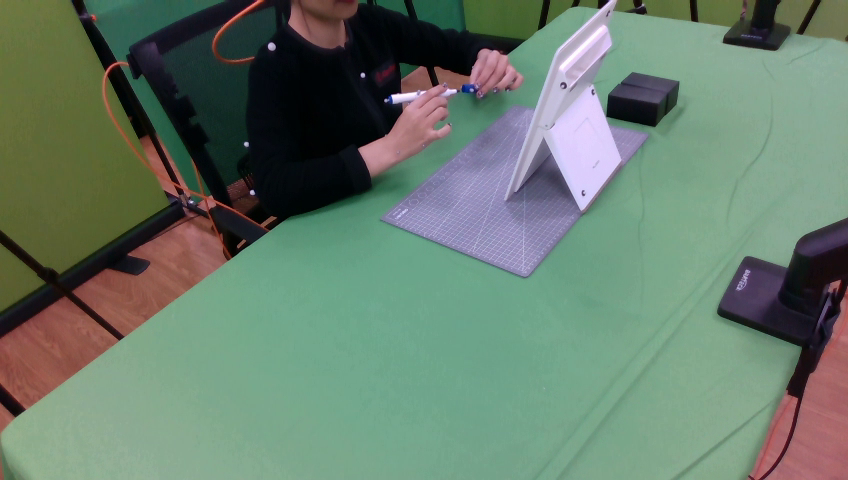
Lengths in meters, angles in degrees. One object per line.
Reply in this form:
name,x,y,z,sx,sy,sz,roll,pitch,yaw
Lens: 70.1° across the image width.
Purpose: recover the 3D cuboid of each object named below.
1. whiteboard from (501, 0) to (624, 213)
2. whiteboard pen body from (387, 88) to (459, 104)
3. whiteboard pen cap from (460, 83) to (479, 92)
whiteboard,0.271,-0.189,0.977,0.143,0.306,0.218,34,53,16
whiteboard pen body,0.000,-0.263,1.099,0.141,0.017,0.017,-12,39,-19
whiteboard pen cap,0.085,-0.287,1.141,0.033,0.018,0.018,-8,37,-27
